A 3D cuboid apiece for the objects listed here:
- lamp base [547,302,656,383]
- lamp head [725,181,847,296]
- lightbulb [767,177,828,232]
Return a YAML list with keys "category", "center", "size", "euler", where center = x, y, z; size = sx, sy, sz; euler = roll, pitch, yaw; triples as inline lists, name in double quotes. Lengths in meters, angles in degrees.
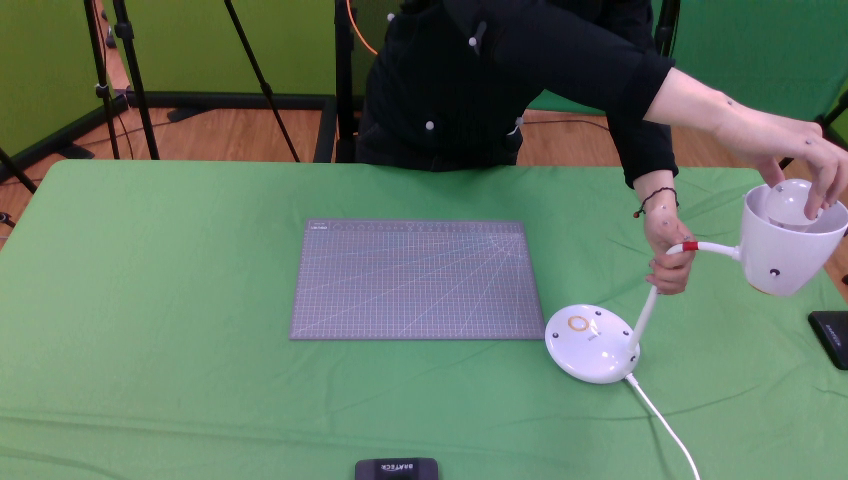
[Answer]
- category: "lamp base"
  center: [0.304, 0.127, 0.982]
  size: [0.160, 0.181, 0.178]
  euler: [-33, 59, -29]
- category: "lamp head"
  center: [0.428, 0.005, 0.727]
  size: [0.112, 0.123, 0.111]
  euler: [1, 39, 0]
- category: "lightbulb"
  center: [0.431, -0.022, 0.710]
  size: [0.059, 0.108, 0.059]
  euler: [-5, 31, 3]
